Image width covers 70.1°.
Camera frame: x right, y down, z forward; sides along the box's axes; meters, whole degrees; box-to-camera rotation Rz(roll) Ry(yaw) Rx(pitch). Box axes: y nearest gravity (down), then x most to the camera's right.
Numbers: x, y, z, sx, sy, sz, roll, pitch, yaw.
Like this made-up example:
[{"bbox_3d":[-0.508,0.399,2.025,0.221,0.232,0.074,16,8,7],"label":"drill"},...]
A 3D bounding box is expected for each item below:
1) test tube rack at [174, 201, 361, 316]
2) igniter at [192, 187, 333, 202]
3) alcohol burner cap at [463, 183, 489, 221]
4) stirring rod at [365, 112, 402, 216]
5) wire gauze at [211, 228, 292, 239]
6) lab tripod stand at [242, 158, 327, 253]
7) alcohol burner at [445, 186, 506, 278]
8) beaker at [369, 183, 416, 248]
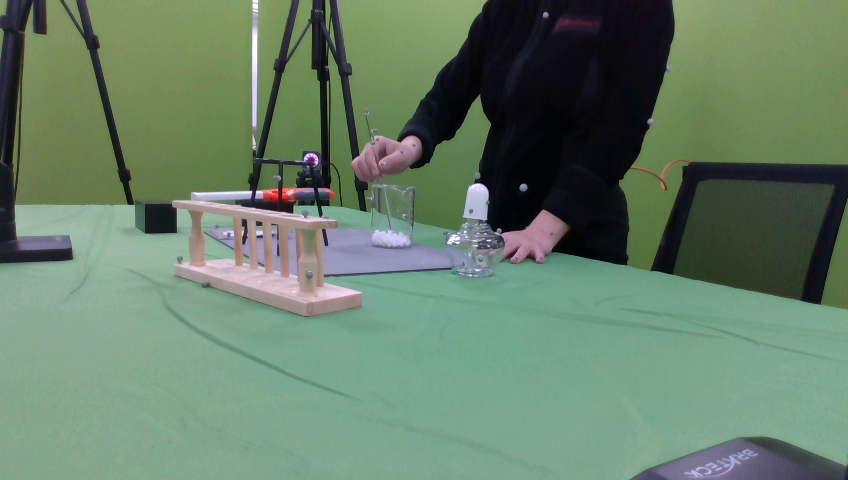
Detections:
[{"bbox_3d":[-0.169,0.010,0.622,0.241,0.085,0.067,9,9,41],"label":"test tube rack"},{"bbox_3d":[-0.316,-0.090,1.213,0.278,0.025,0.057,-5,13,-31],"label":"igniter"},{"bbox_3d":[0.067,-0.048,0.765,0.034,0.048,0.034,5,5,0],"label":"alcohol burner cap"},{"bbox_3d":[-0.065,-0.120,0.974,0.006,0.176,0.014,-23,18,-16],"label":"stirring rod"},{"bbox_3d":[-0.298,-0.013,1.039,0.122,0.011,0.124,-2,6,-27],"label":"wire gauze"},{"bbox_3d":[-0.207,-0.054,0.895,0.148,0.131,0.148,3,5,0],"label":"lab tripod stand"},{"bbox_3d":[0.066,-0.013,0.770,0.078,0.119,0.078,0,7,0],"label":"alcohol burner"},{"bbox_3d":[-0.050,-0.039,0.971,0.074,0.100,0.083,-1,9,-25],"label":"beaker"}]
